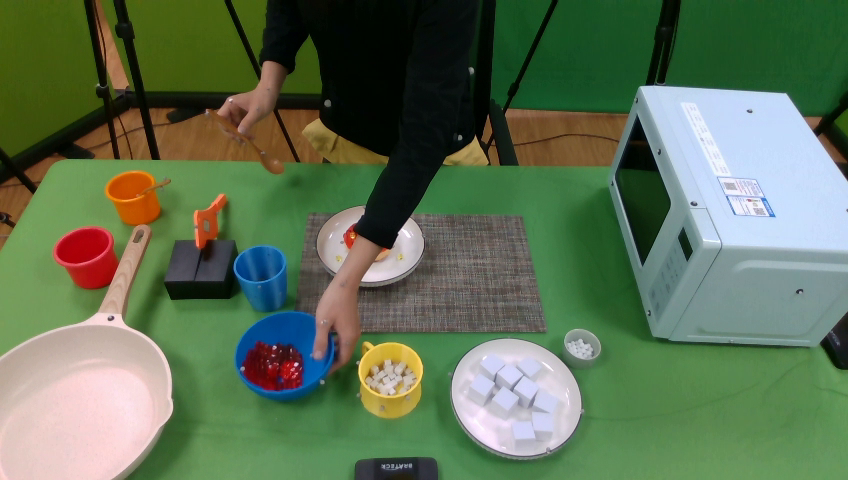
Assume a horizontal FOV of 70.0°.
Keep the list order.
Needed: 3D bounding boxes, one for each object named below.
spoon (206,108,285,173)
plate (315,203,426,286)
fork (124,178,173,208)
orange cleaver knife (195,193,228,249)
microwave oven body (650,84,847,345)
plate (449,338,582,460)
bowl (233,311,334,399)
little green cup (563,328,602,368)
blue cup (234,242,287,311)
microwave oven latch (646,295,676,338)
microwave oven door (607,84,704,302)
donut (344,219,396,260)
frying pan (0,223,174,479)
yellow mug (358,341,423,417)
[{"bbox_3d":[-0.346,-0.195,1.187,0.021,0.195,0.041,-17,48,26],"label":"spoon"},{"bbox_3d":[-0.101,0.012,1.159,0.209,0.038,0.208,2,46,-2],"label":"plate"},{"bbox_3d":[-0.525,-0.089,1.153,0.207,0.019,0.028,-17,27,45],"label":"fork"},{"bbox_3d":[-0.406,-0.041,1.163,0.012,0.077,0.210,0,18,-3],"label":"orange cleaver knife"},{"bbox_3d":[0.569,-0.054,1.115,0.326,0.261,0.439,2,46,-1],"label":"microwave oven body"},{"bbox_3d":[0.141,0.251,0.955,0.208,0.039,0.206,2,46,-2],"label":"plate"},{"bbox_3d":[-0.215,0.194,0.956,0.151,0.077,0.150,2,46,-2],"label":"bowl"},{"bbox_3d":[0.266,0.185,1.025,0.061,0.039,0.061,1,45,-1],"label":"little green cup"},{"bbox_3d":[-0.276,0.071,1.051,0.093,0.101,0.092,1,48,-1],"label":"blue cup"},{"bbox_3d":[0.413,0.133,1.060,0.030,0.029,0.078,4,46,1],"label":"microwave oven latch"},{"bbox_3d":[0.424,-0.096,1.137,0.039,0.245,0.353,2,46,-1],"label":"microwave oven door"},{"bbox_3d":[-0.103,-0.002,1.157,0.099,0.048,0.098,2,43,-2],"label":"donut"},{"bbox_3d":[-0.505,0.169,0.940,0.307,0.103,0.485,5,54,-1],"label":"frying pan"},{"bbox_3d":[-0.062,0.209,0.961,0.100,0.064,0.130,-29,54,-27],"label":"yellow mug"}]
